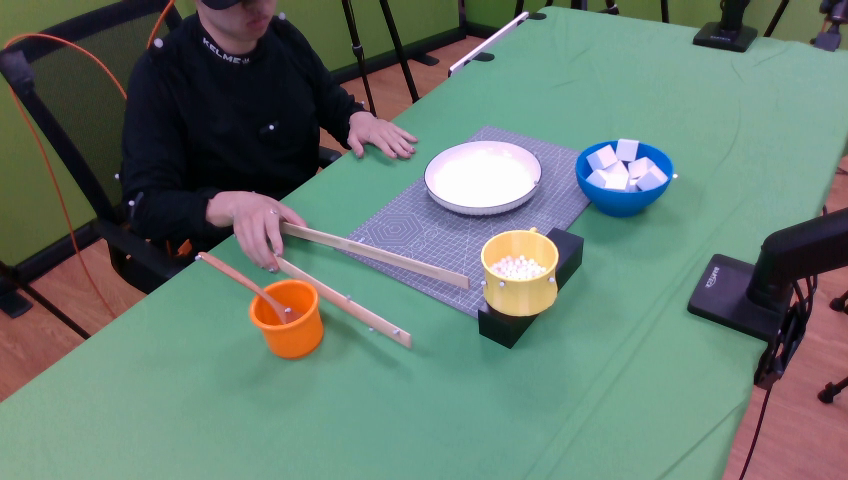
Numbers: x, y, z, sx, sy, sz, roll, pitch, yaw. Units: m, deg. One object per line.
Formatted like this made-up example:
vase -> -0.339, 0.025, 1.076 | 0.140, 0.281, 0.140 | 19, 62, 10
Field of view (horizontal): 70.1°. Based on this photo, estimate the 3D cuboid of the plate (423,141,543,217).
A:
plate -> 0.103, -0.104, 1.059 | 0.207, 0.039, 0.206 | -4, 40, 4

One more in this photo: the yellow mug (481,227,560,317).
yellow mug -> 0.132, 0.032, 0.801 | 0.099, 0.064, 0.131 | 11, 43, 20

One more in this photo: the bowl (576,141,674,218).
bowl -> 0.321, -0.089, 0.984 | 0.151, 0.077, 0.150 | -4, 40, 4

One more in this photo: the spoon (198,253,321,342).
spoon -> -0.220, 0.075, 0.814 | 0.021, 0.194, 0.041 | -37, 18, 38

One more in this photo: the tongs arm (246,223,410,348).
tongs arm -> -0.151, 0.057, 0.899 | 0.381, 0.026, 0.051 | 24, 47, 33

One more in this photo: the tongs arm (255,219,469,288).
tongs arm -> -0.106, 0.018, 0.947 | 0.385, 0.028, 0.028 | 14, 46, 24
